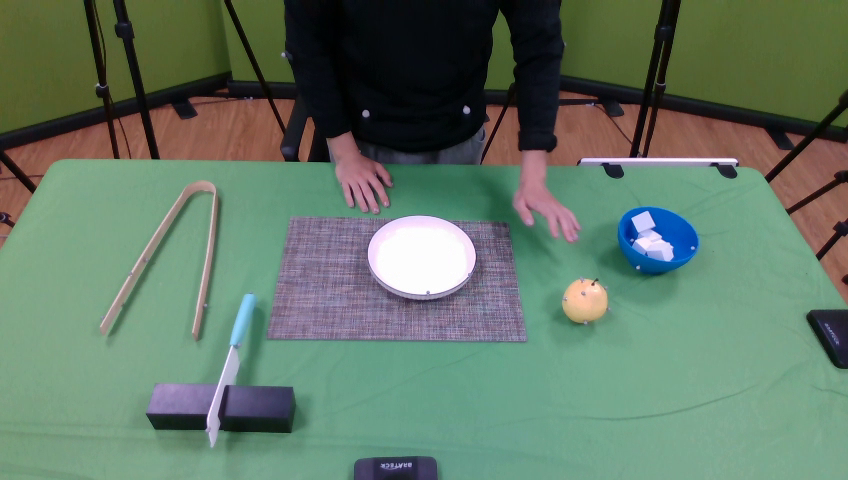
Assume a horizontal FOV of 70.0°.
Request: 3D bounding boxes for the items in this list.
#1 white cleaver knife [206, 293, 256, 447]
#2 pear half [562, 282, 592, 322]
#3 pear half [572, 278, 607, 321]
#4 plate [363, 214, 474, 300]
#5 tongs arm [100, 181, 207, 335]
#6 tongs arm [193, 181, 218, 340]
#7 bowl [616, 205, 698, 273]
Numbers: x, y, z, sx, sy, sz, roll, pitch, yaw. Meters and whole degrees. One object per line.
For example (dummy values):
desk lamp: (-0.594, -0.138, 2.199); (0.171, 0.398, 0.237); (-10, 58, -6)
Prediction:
white cleaver knife: (-0.305, 0.191, 0.956); (0.021, 0.066, 0.284); (5, 36, -4)
pear half: (0.264, 0.111, 1.065); (0.031, 0.088, 0.070); (-20, 61, -21)
pear half: (0.297, 0.094, 1.069); (0.056, 0.110, 0.076); (-21, 62, -21)
plate: (-0.010, 0.036, 1.146); (0.208, 0.039, 0.206); (3, 46, -2)
tongs arm: (-0.494, 0.018, 1.132); (0.051, 0.026, 0.382); (6, 45, 0)
tongs arm: (-0.413, 0.024, 1.139); (0.028, 0.028, 0.385); (-6, 47, -7)
bowl: (0.443, 0.011, 1.182); (0.151, 0.077, 0.150); (2, 46, -2)
